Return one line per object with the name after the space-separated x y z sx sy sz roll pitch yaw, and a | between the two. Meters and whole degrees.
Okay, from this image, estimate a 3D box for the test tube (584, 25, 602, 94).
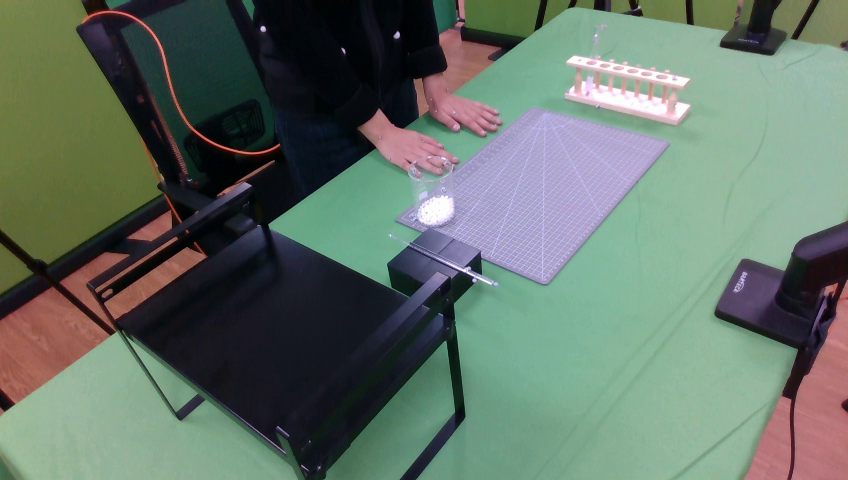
0.341 -0.362 1.224 0.017 0.151 0.017 -2 47 3 | test tube

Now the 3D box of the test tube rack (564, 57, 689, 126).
0.411 -0.311 1.230 0.240 0.085 0.067 23 49 32 | test tube rack

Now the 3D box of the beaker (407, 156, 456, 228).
0.016 -0.079 1.002 0.073 0.101 0.084 26 50 33 | beaker

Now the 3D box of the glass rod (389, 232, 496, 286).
0.022 0.026 0.878 0.198 0.008 0.008 25 50 33 | glass rod
